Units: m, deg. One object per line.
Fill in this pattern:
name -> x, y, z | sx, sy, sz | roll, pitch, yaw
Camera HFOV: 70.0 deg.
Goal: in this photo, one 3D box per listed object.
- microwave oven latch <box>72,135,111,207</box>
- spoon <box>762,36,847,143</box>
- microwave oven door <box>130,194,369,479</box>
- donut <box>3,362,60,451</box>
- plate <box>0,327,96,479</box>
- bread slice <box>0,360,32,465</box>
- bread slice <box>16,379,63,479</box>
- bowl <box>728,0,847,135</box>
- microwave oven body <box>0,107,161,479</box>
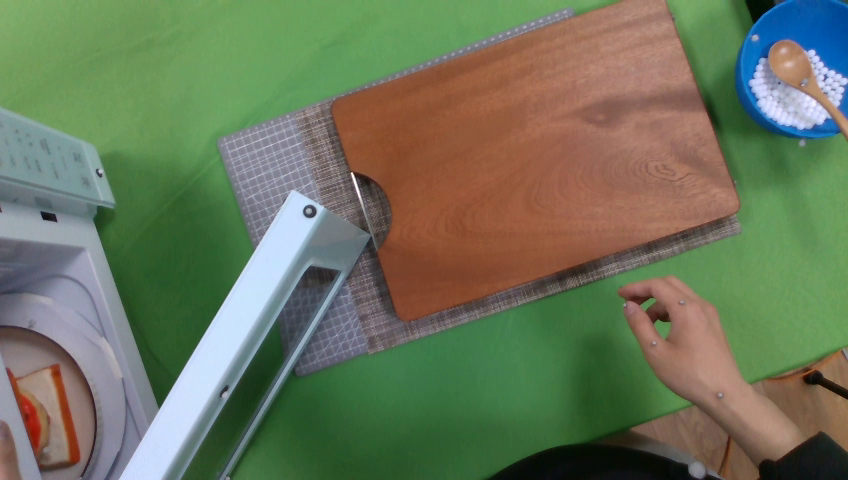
microwave oven latch -> -0.392, -0.079, 0.698 | 0.030, 0.029, 0.079 | -22, 87, 1
spoon -> 0.416, -0.139, 0.630 | 0.041, 0.022, 0.192 | -21, 63, 0
microwave oven door -> -0.172, 0.128, 0.575 | 0.039, 0.244, 0.355 | 29, 88, 5
donut -> -0.423, 0.173, 0.617 | 0.099, 0.048, 0.098 | 0, 82, 2
plate -> -0.447, 0.195, 0.637 | 0.208, 0.039, 0.207 | 0, 86, -1
bread slice -> -0.442, 0.178, 0.577 | 0.134, 0.018, 0.107 | -23, 87, 12
bread slice -> -0.452, 0.198, 0.639 | 0.131, 0.019, 0.104 | 2, 87, 2
bowl -> 0.399, -0.182, 0.663 | 0.151, 0.077, 0.151 | 0, 87, 3
microwave oven body -> -0.470, 0.133, 0.594 | 0.326, 0.260, 0.441 | -22, 86, 1
